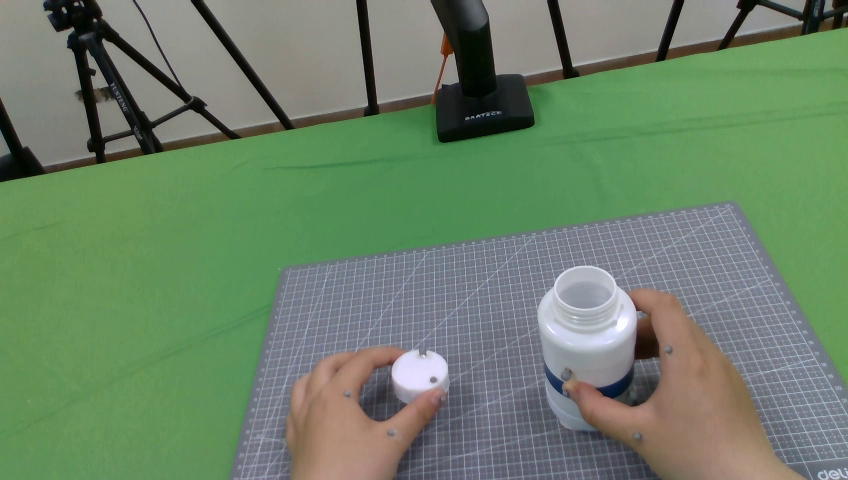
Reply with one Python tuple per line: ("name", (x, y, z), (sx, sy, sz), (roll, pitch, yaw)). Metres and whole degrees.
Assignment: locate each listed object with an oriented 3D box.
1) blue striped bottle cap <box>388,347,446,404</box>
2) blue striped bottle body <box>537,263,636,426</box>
("blue striped bottle cap", (-0.005, 0.103, 0.461), (0.044, 0.021, 0.044), (1, 31, 0))
("blue striped bottle body", (0.111, 0.070, 0.414), (0.063, 0.122, 0.062), (-8, 43, 7))
